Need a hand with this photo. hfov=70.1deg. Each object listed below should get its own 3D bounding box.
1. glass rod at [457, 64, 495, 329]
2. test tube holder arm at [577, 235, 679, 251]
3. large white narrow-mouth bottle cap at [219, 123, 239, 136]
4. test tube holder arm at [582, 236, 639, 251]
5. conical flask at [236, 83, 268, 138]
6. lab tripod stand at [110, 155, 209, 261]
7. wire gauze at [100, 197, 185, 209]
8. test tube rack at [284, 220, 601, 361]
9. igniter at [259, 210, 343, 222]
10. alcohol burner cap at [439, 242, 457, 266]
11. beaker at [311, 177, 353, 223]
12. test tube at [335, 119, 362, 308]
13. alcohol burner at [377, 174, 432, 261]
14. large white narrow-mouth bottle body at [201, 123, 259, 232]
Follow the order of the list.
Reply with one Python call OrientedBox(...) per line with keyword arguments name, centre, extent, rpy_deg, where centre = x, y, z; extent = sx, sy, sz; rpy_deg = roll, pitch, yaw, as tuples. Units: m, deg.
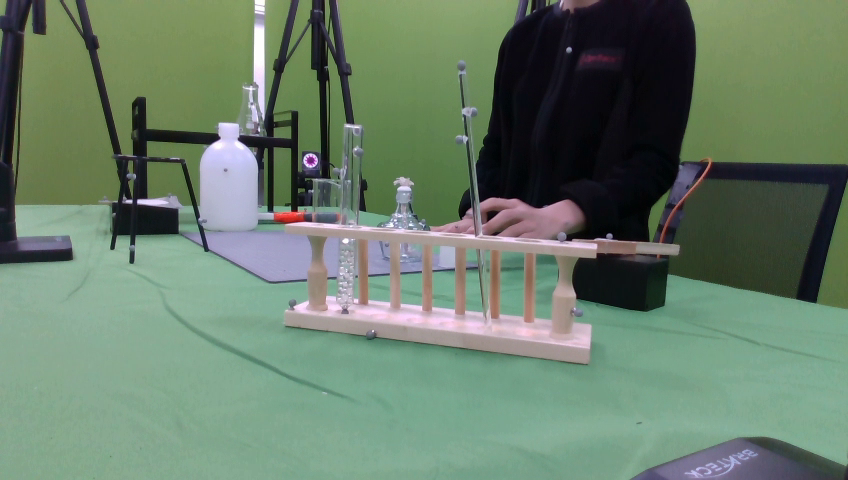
OrientedBox(name="glass rod", centre=(0.040, -0.029, 0.449), extent=(0.008, 0.199, 0.008), rpy_deg=(-7, 9, 1))
OrientedBox(name="test tube holder arm", centre=(0.227, 0.004, 0.661), extent=(0.179, 0.015, 0.013), rpy_deg=(1, 13, -39))
OrientedBox(name="large white narrow-mouth bottle cap", centre=(-0.356, -0.201, 1.104), extent=(0.038, 0.024, 0.037), rpy_deg=(2, 8, 0))
OrientedBox(name="test tube holder arm", centre=(0.194, 0.004, 0.629), extent=(0.088, 0.015, 0.010), rpy_deg=(2, 13, -38))
OrientedBox(name="conical flask", centre=(-0.400, -0.298, 1.396), extent=(0.075, 0.122, 0.075), rpy_deg=(2, 8, 0))
OrientedBox(name="lab tripod stand", centre=(-0.361, -0.046, 0.806), extent=(0.148, 0.131, 0.148), rpy_deg=(2, 5, 0))
OrientedBox(name="wire gauze", centre=(-0.469, -0.062, 1.008), extent=(0.126, 0.011, 0.121), rpy_deg=(-2, 8, -25))
OrientedBox(name="test tube rack", centre=(0.013, 0.032, 0.482), extent=(0.242, 0.085, 0.067), rpy_deg=(4, 7, 16))
OrientedBox(name="igniter", centre=(-0.303, -0.049, 1.258), extent=(0.278, 0.025, 0.057), rpy_deg=(-2, -2, -28))
OrientedBox(name="alcohol burner cap", centre=(0.038, 0.010, 0.807), extent=(0.034, 0.048, 0.034), rpy_deg=(6, 7, 0))
OrientedBox(name="beaker", centre=(-0.167, -0.064, 1.106), extent=(0.074, 0.100, 0.083), rpy_deg=(-2, 9, -26))
OrientedBox(name="test tube", centre=(-0.060, -0.019, 0.475), extent=(0.017, 0.150, 0.017), rpy_deg=(4, 11, 0))
OrientedBox(name="alcohol burner", centre=(-0.027, -0.031, 0.838), extent=(0.078, 0.119, 0.078), rpy_deg=(0, 6, 0))
OrientedBox(name="large white narrow-mouth bottle body", centre=(-0.358, -0.116, 1.116), extent=(0.102, 0.194, 0.102), rpy_deg=(2, 8, 0))
